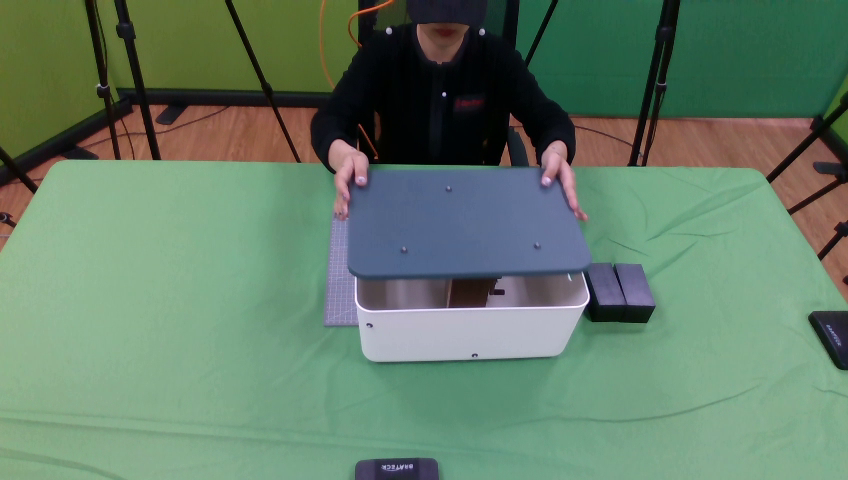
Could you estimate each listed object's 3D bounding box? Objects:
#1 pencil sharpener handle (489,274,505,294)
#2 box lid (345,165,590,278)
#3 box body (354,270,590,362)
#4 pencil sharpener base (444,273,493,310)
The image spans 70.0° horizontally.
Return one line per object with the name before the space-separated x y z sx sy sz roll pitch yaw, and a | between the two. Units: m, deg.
pencil sharpener handle | 0.129 0.070 1.051 0.031 0.068 0.036 1 46 -3
box lid | 0.061 -0.039 0.970 0.372 0.015 0.261 -2 42 -5
box body | 0.065 0.066 1.040 0.364 0.161 0.252 -1 46 -5
pencil sharpener base | 0.078 0.078 1.057 0.077 0.107 0.061 1 46 -3
